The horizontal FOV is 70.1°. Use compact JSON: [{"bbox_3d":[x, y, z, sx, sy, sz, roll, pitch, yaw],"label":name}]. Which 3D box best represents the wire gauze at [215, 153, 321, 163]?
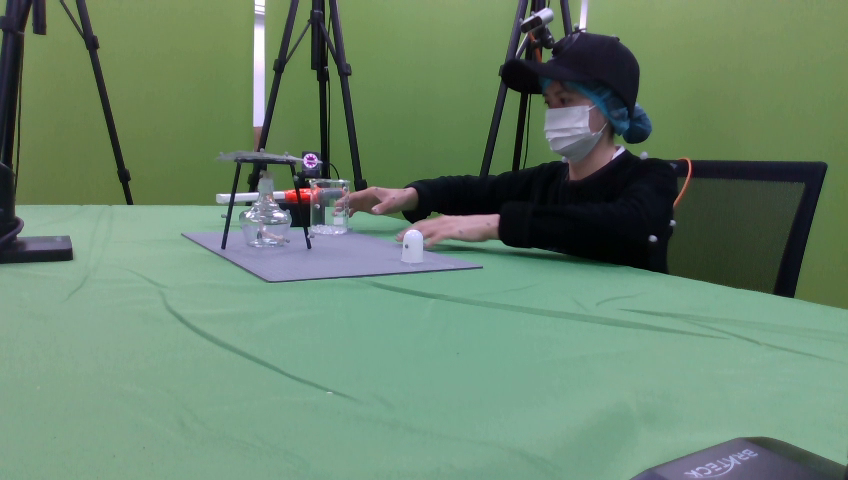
[{"bbox_3d":[-0.235,-0.123,0.906,0.126,0.011,0.121,-2,7,-33],"label":"wire gauze"}]

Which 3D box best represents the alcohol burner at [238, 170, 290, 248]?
[{"bbox_3d":[-0.244,-0.048,0.927,0.078,0.119,0.078,3,5,0],"label":"alcohol burner"}]

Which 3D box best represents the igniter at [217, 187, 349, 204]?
[{"bbox_3d":[-0.285,-0.093,1.256,0.278,0.025,0.057,-6,12,-34],"label":"igniter"}]

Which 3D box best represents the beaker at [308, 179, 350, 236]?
[{"bbox_3d":[-0.176,-0.060,1.104,0.073,0.100,0.084,8,10,39],"label":"beaker"}]

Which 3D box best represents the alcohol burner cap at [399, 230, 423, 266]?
[{"bbox_3d":[-0.017,0.010,0.837,0.034,0.048,0.034,3,7,0],"label":"alcohol burner cap"}]

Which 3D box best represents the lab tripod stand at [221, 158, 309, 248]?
[{"bbox_3d":[-0.244,-0.057,0.917,0.148,0.131,0.148,1,7,0],"label":"lab tripod stand"}]
